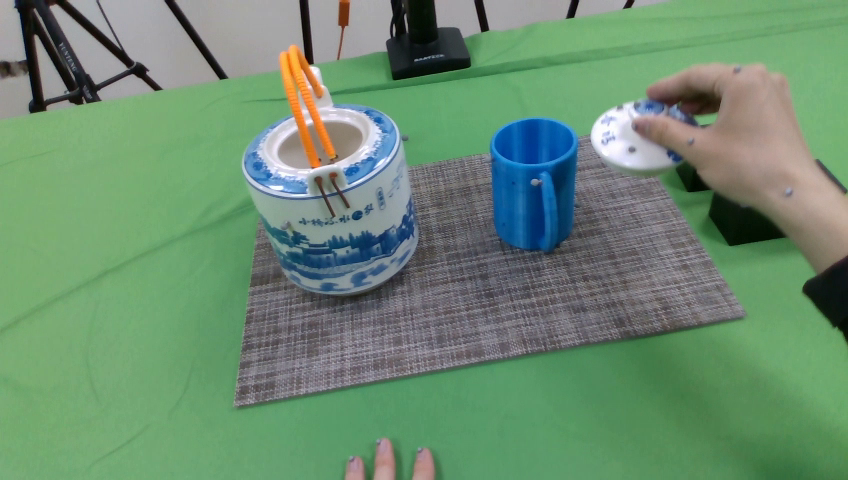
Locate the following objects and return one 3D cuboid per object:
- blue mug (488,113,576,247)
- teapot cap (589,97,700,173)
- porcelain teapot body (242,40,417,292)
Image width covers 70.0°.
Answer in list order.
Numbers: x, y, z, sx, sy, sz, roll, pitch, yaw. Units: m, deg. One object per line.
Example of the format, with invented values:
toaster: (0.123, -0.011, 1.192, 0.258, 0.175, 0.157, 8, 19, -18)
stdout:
blue mug: (0.109, -0.049, 0.592, 0.082, 0.107, 0.115, -10, 44, 0)
teapot cap: (0.175, -0.090, 0.483, 0.085, 0.044, 0.084, -3, 46, 4)
porcelain teapot body: (-0.096, -0.086, 0.579, 0.145, 0.227, 0.203, -15, 44, -5)
